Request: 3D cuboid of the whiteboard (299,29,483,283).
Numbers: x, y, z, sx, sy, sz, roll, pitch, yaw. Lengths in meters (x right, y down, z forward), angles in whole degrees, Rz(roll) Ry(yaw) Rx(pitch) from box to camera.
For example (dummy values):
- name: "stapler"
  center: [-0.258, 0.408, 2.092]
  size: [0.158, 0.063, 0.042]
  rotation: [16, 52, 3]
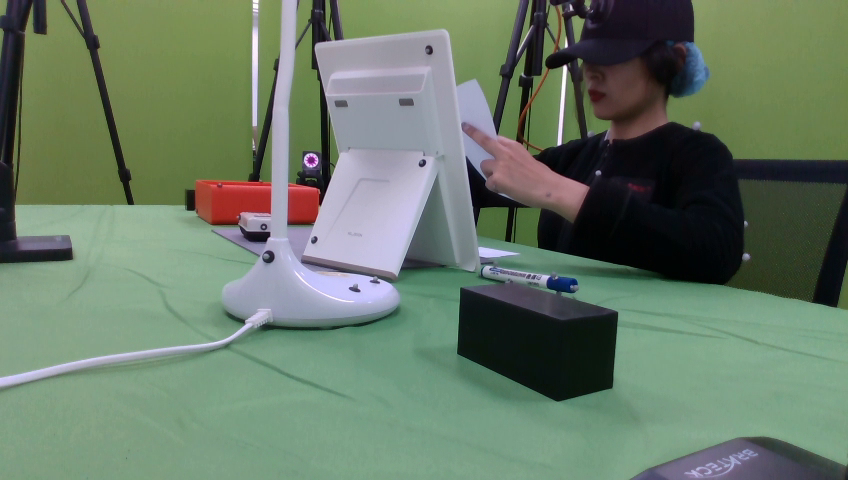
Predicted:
- name: "whiteboard"
  center: [-0.074, -0.082, 0.742]
  size: [0.216, 0.305, 0.144]
  rotation: [9, 29, 38]

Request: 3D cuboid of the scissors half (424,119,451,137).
- name: "scissors half"
  center: [0.028, -0.199, 1.069]
  size: [0.013, 0.040, 0.175]
  rotation: [41, 2, -13]

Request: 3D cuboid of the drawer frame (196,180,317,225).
- name: "drawer frame"
  center: [-0.359, -0.083, 1.292]
  size: [0.215, 0.082, 0.200]
  rotation: [-2, 10, -30]

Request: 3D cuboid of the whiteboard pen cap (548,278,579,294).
- name: "whiteboard pen cap"
  center: [0.148, 0.049, 0.647]
  size: [0.018, 0.018, 0.033]
  rotation: [-3, 3, -36]

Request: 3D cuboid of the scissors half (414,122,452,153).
- name: "scissors half"
  center: [0.016, -0.183, 1.067]
  size: [0.013, 0.040, 0.174]
  rotation: [35, -16, -13]

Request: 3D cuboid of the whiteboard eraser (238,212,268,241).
- name: "whiteboard eraser"
  center: [-0.272, -0.024, 0.998]
  size: [0.056, 0.042, 0.112]
  rotation: [-2, 9, -24]

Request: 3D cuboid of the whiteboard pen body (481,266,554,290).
- name: "whiteboard pen body"
  center: [0.115, 0.045, 0.695]
  size: [0.017, 0.017, 0.140]
  rotation: [-3, 6, -35]

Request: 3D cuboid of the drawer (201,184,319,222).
- name: "drawer"
  center: [-0.353, -0.082, 1.295]
  size: [0.213, 0.073, 0.193]
  rotation: [-2, 9, -28]

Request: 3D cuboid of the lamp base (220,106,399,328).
- name: "lamp base"
  center: [-0.102, -0.023, 0.531]
  size: [0.160, 0.180, 0.179]
  rotation: [4, 10, 10]
